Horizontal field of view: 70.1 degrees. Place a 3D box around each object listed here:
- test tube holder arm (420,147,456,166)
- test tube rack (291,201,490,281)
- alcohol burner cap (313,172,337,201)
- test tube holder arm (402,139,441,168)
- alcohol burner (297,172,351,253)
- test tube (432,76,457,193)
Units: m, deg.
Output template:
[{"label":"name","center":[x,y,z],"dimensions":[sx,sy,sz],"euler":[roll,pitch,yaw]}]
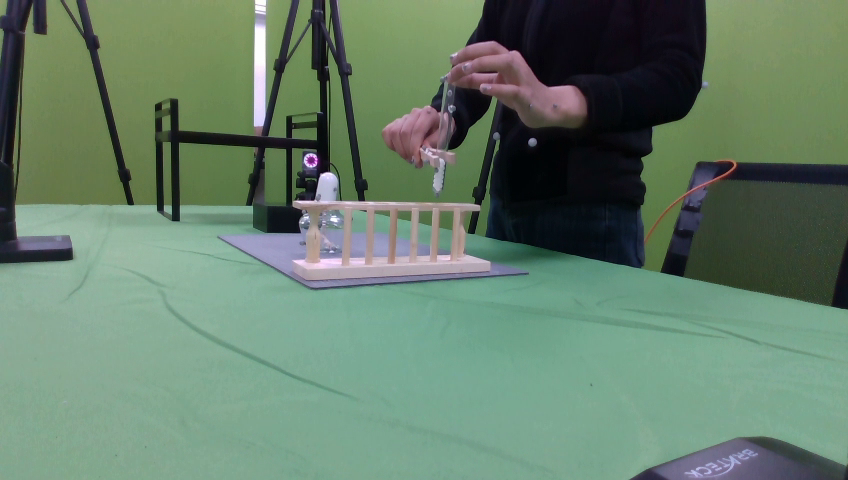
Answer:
[{"label":"test tube holder arm","center":[0.015,-0.114,0.817],"dimensions":[0.010,0.015,0.087],"euler":[-14,22,-30]},{"label":"test tube rack","center":[-0.035,-0.002,0.745],"dimensions":[0.243,0.085,0.066],"euler":[-1,8,-28]},{"label":"alcohol burner cap","center":[-0.144,-0.076,0.888],"dimensions":[0.034,0.048,0.034],"euler":[8,6,-1]},{"label":"test tube holder arm","center":[-0.007,-0.125,0.854],"dimensions":[0.013,0.015,0.177],"euler":[-7,19,-16]},{"label":"alcohol burner","center":[-0.146,-0.041,0.894],"dimensions":[0.078,0.119,0.078],"euler":[5,7,0]},{"label":"test tube","center":[0.026,-0.135,0.781],"dimensions":[0.017,0.150,0.017],"euler":[7,16,-2]}]
